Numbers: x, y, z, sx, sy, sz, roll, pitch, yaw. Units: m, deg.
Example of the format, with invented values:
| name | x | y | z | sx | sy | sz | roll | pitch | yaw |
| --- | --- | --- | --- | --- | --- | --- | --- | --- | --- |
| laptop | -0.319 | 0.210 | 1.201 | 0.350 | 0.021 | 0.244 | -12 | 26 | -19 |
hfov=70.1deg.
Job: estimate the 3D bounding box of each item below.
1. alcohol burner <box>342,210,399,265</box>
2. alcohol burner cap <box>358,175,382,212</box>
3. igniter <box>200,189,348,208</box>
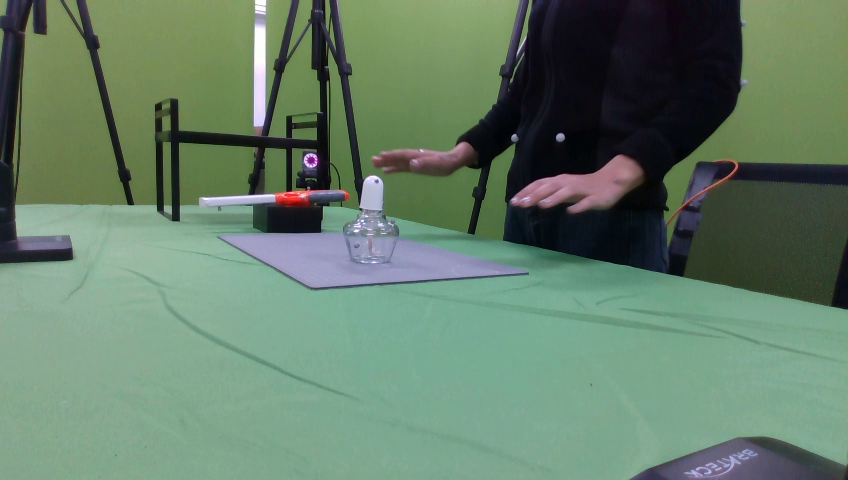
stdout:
| name | x | y | z | sx | sy | sz | roll | pitch | yaw |
| --- | --- | --- | --- | --- | --- | --- | --- | --- | --- |
| alcohol burner | -0.073 | -0.027 | 0.818 | 0.078 | 0.119 | 0.078 | 1 | 6 | 0 |
| alcohol burner cap | -0.070 | -0.063 | 0.814 | 0.034 | 0.048 | 0.034 | 9 | 10 | -1 |
| igniter | -0.275 | -0.079 | 1.142 | 0.278 | 0.025 | 0.057 | -6 | 11 | -32 |
